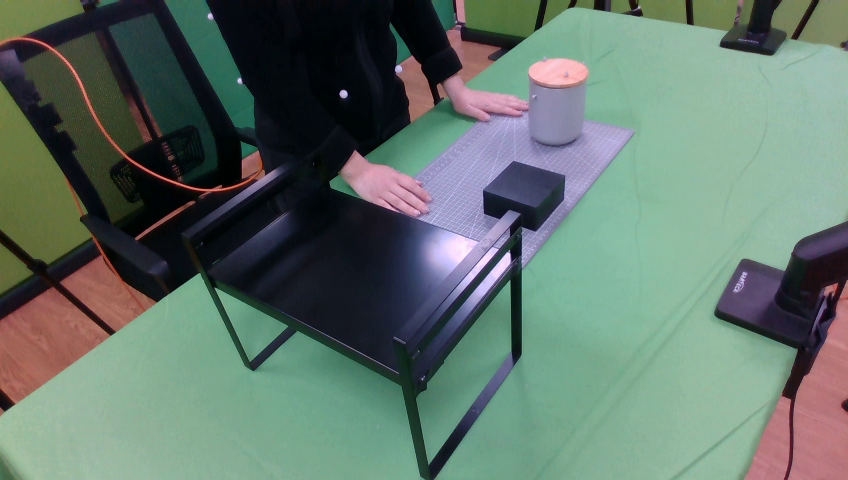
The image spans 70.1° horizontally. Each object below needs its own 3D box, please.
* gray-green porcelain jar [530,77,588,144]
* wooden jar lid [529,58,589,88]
[{"bbox_3d":[0.254,-0.255,1.151,0.106,0.127,0.105,-4,41,4],"label":"gray-green porcelain jar"},{"bbox_3d":[0.248,-0.302,1.110,0.108,0.021,0.108,-2,40,2],"label":"wooden jar lid"}]
